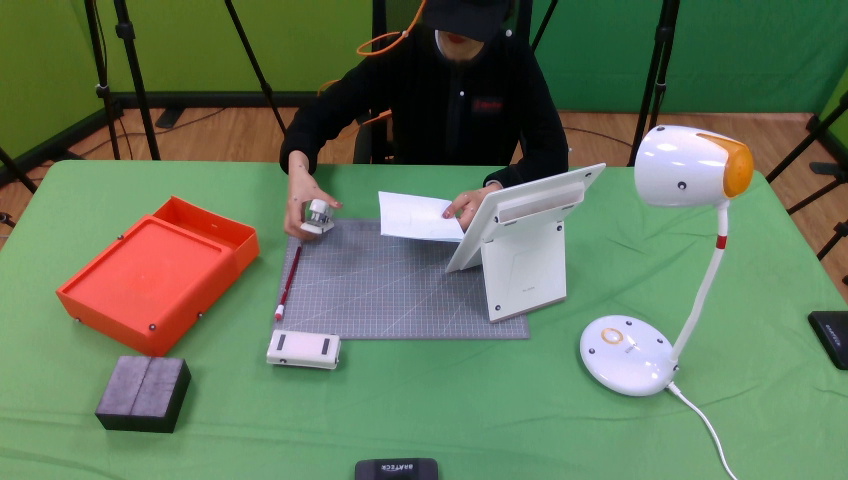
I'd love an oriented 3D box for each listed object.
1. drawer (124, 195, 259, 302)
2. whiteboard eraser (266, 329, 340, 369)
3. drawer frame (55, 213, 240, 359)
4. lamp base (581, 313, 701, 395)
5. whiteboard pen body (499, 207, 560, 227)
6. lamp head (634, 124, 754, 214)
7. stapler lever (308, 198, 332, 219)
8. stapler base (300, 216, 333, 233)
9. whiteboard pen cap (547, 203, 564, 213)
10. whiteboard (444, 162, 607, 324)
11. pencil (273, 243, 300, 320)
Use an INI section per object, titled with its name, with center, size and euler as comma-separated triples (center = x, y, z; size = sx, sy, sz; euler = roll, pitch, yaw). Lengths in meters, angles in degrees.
[drawer]
center = -0.442, 0.032, 1.093
size = 0.194, 0.073, 0.211
euler = 21, 49, 15
[whiteboard eraser]
center = -0.198, 0.181, 0.994
size = 0.113, 0.042, 0.055
euler = 5, 45, 1
[drawer frame]
center = -0.469, 0.072, 1.050
size = 0.201, 0.083, 0.213
euler = 21, 49, 14
[lamp base]
center = 0.361, 0.144, 0.973
size = 0.178, 0.181, 0.160
euler = 34, 53, 23
[whiteboard pen body]
center = 0.222, -0.051, 1.260
size = 0.141, 0.017, 0.017
euler = -15, 49, -16
[lamp head]
center = 0.351, -0.089, 0.776
size = 0.112, 0.113, 0.122
euler = -30, 30, -28
[stapler lever]
center = -0.196, -0.061, 1.156
size = 0.027, 0.040, 0.118
euler = 17, 5, 0
[stapler base]
center = -0.202, -0.035, 1.157
size = 0.041, 0.024, 0.130
euler = 17, 7, 0
[whiteboard pen cap]
center = 0.277, -0.066, 1.275
size = 0.033, 0.018, 0.018
euler = -18, 50, -15
[whiteboard]
center = 0.186, 0.025, 1.029
size = 0.217, 0.306, 0.143
euler = -15, 68, -18
[pencil]
center = -0.249, 0.071, 1.115
size = 0.012, 0.012, 0.193
euler = 5, 43, 1
